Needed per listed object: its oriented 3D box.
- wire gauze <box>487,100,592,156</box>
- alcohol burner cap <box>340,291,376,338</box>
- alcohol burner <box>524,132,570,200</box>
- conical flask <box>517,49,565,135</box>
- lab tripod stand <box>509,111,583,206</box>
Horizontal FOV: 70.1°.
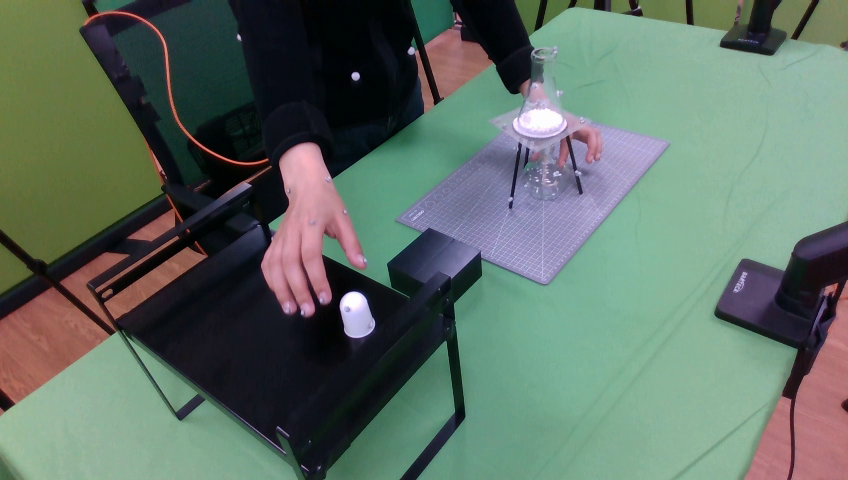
[{"bbox_3d":[0.185,-0.187,0.974,0.122,0.011,0.124,-28,47,-22],"label":"wire gauze"},{"bbox_3d":[-0.067,0.072,0.605,0.034,0.048,0.033,-5,42,5],"label":"alcohol burner cap"},{"bbox_3d":[0.208,-0.128,1.020,0.078,0.119,0.077,-5,39,5],"label":"alcohol burner"},{"bbox_3d":[0.183,-0.231,0.936,0.075,0.122,0.075,-4,40,4],"label":"conical flask"},{"bbox_3d":[0.198,-0.139,1.020,0.148,0.132,0.147,-3,39,3],"label":"lab tripod stand"}]
